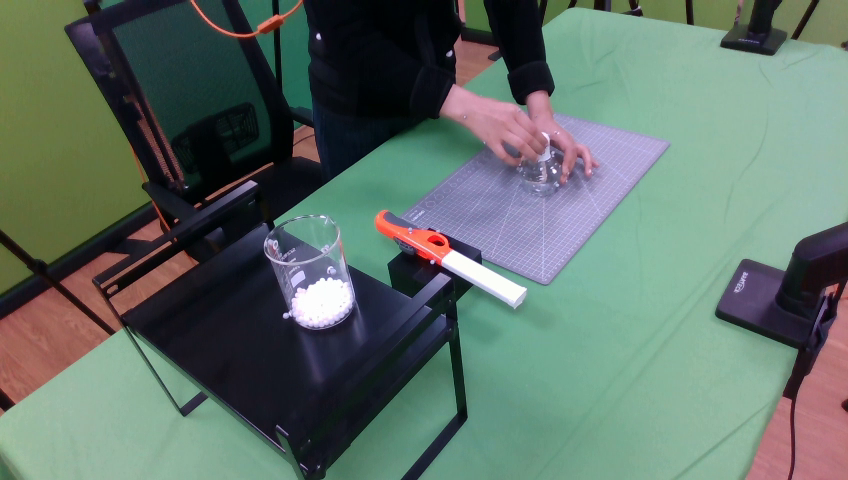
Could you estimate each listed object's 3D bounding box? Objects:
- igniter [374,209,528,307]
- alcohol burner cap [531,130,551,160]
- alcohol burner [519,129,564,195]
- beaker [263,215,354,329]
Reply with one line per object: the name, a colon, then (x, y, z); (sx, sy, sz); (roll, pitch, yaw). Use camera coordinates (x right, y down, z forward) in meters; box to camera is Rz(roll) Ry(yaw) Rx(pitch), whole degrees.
igniter: (0.027, 0.019, 0.873); (0.274, 0.025, 0.057); (29, 52, 30)
alcohol burner cap: (0.196, -0.161, 1.010); (0.034, 0.048, 0.033); (-4, 42, 4)
alcohol burner: (0.200, -0.136, 1.028); (0.078, 0.119, 0.077); (-5, 42, 5)
beaker: (-0.112, 0.034, 0.616); (0.073, 0.101, 0.084); (13, 44, 23)
